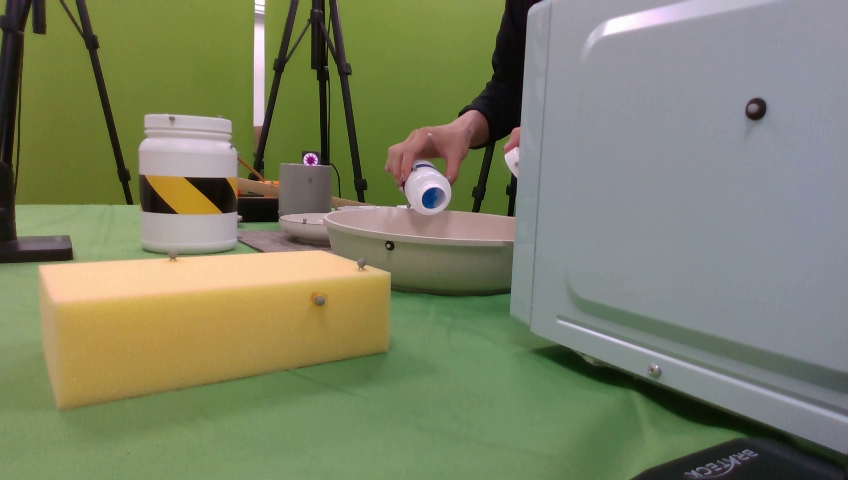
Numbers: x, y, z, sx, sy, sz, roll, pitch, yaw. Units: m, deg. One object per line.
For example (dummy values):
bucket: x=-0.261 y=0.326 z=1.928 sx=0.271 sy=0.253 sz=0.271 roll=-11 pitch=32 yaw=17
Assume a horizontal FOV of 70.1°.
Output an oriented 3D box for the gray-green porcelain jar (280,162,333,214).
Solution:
gray-green porcelain jar: x=-0.238 y=-0.092 z=1.221 sx=0.106 sy=0.126 sz=0.106 roll=2 pitch=7 yaw=0

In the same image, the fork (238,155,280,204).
fork: x=-0.396 y=-0.143 z=1.486 sx=0.028 sy=0.018 sz=0.208 roll=19 pitch=-26 yaw=45

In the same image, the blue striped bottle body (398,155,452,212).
blue striped bottle body: x=0.002 y=-0.081 z=0.875 sx=0.063 sy=0.063 sz=0.120 roll=0 pitch=20 yaw=-12

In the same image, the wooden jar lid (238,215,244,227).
wooden jar lid: x=-0.404 y=-0.037 z=1.169 sx=0.108 sy=0.020 sz=0.108 roll=3 pitch=7 yaw=0

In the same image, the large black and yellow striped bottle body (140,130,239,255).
large black and yellow striped bottle body: x=-0.336 y=-0.078 z=0.871 sx=0.131 sy=0.184 sz=0.130 roll=2 pitch=8 yaw=0

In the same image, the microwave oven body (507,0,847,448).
microwave oven body: x=0.331 y=-0.042 z=0.425 sx=0.444 sy=0.260 sz=0.324 roll=-2 pitch=8 yaw=-31

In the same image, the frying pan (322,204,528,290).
frying pan: x=0.110 y=-0.017 z=0.800 sx=0.490 sy=0.102 sz=0.305 roll=-12 pitch=16 yaw=-30

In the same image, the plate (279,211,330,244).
plate: x=-0.139 y=-0.022 z=1.021 sx=0.209 sy=0.038 sz=0.209 roll=2 pitch=8 yaw=0

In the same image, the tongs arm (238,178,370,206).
tongs arm: x=-0.241 y=-0.095 z=1.373 sx=0.387 sy=0.026 sz=0.050 roll=9 pitch=-1 yaw=-37

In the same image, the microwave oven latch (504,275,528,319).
microwave oven latch: x=0.100 y=0.042 z=0.471 sx=0.079 sy=0.029 sz=0.030 roll=-1 pitch=7 yaw=-28

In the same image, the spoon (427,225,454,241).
spoon: x=0.024 y=-0.019 z=1.124 sx=0.042 sy=0.021 sz=0.193 roll=-17 pitch=10 yaw=-4

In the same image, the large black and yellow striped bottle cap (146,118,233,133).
large black and yellow striped bottle cap: x=-0.333 y=-0.163 z=0.861 sx=0.115 sy=0.019 sz=0.115 roll=1 pitch=9 yaw=0

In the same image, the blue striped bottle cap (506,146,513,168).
blue striped bottle cap: x=0.125 y=-0.099 z=0.742 sx=0.045 sy=0.020 sz=0.044 roll=18 pitch=33 yaw=-12

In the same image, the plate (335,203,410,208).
plate: x=-0.089 y=-0.053 z=1.309 sx=0.208 sy=0.039 sz=0.207 roll=2 pitch=8 yaw=0

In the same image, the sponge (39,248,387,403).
sponge: x=-0.142 y=0.047 z=0.420 sx=0.208 sy=0.061 sz=0.117 roll=-3 pitch=8 yaw=-37

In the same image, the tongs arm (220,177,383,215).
tongs arm: x=-0.285 y=-0.103 z=1.445 sx=0.389 sy=0.027 sz=0.028 roll=9 pitch=-4 yaw=-23

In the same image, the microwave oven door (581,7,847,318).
microwave oven door: x=0.295 y=-0.067 z=0.569 sx=0.358 sy=0.243 sz=0.039 roll=-3 pitch=8 yaw=-31
